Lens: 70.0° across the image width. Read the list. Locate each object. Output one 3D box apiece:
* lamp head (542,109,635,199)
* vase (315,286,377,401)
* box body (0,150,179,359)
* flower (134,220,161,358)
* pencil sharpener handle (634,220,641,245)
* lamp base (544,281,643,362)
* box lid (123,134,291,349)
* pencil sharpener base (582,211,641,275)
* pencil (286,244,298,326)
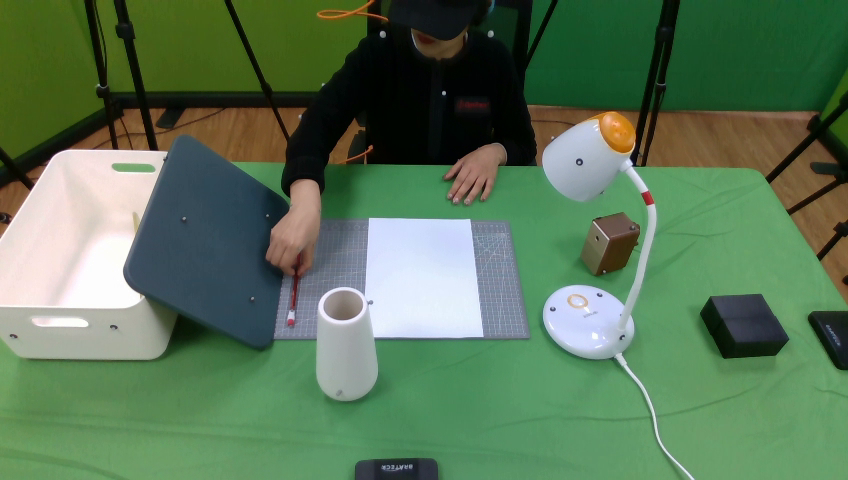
[{"bbox_3d":[0.253,-0.131,0.893,0.113,0.123,0.112,10,66,-24],"label":"lamp head"},{"bbox_3d":[-0.119,0.159,0.911,0.098,0.201,0.097,2,47,-2],"label":"vase"},{"bbox_3d":[-0.541,0.020,1.041,0.254,0.161,0.361,1,46,-3],"label":"box body"},{"bbox_3d":[-0.508,0.071,1.092,0.044,0.038,0.359,-41,45,8],"label":"flower"},{"bbox_3d":[0.405,-0.015,1.161,0.031,0.068,0.035,-15,44,-18],"label":"pencil sharpener handle"},{"bbox_3d":[0.304,0.095,1.014,0.161,0.181,0.178,-24,54,-24],"label":"lamp base"},{"bbox_3d":[-0.355,-0.008,1.060,0.015,0.265,0.369,-33,39,26],"label":"box lid"},{"bbox_3d":[0.357,0.005,1.155,0.077,0.107,0.061,-15,48,-18],"label":"pencil sharpener base"},{"bbox_3d":[-0.239,0.076,1.107,0.012,0.012,0.192,-1,47,-5],"label":"pencil"}]
